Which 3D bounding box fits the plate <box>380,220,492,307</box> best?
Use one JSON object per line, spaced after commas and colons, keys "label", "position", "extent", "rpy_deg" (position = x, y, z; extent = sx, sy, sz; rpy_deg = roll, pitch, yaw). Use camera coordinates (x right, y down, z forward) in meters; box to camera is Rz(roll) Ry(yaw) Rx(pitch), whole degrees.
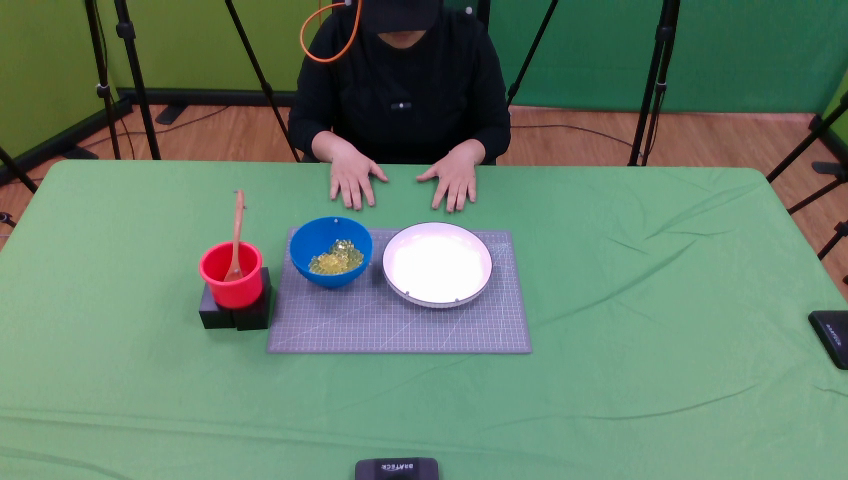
{"label": "plate", "position": [0.021, 0.048, 1.137], "extent": [0.208, 0.039, 0.206], "rpy_deg": [2, 46, -2]}

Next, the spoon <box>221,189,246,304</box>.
{"label": "spoon", "position": [-0.312, 0.010, 1.011], "extent": [0.041, 0.021, 0.193], "rpy_deg": [4, 90, 2]}

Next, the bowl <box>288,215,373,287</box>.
{"label": "bowl", "position": [-0.168, 0.034, 1.109], "extent": [0.151, 0.077, 0.150], "rpy_deg": [2, 46, -2]}
